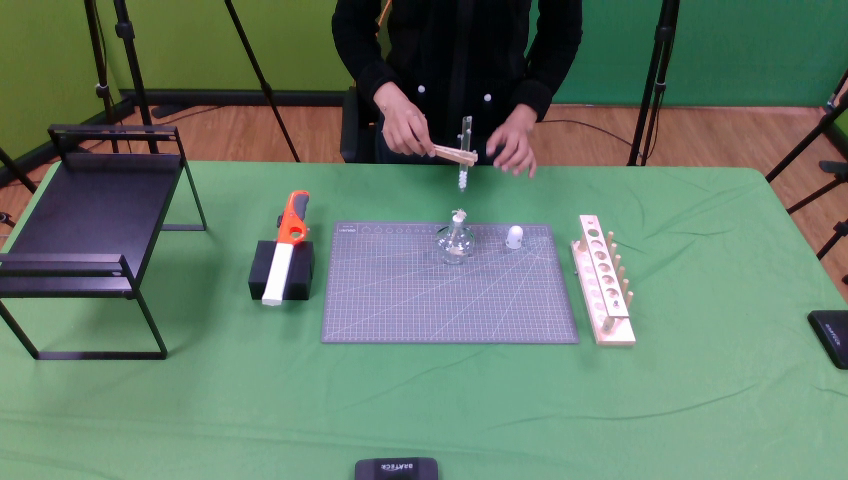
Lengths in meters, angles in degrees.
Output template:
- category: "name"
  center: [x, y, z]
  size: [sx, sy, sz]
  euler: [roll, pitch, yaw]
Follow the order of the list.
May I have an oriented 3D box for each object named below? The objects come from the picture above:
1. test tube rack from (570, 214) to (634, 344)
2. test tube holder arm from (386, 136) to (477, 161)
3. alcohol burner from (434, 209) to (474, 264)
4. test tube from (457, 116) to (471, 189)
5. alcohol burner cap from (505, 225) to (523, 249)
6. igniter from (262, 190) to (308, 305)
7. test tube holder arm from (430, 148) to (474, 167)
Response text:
- category: "test tube rack"
  center: [0.333, 0.067, 1.116]
  size: [0.067, 0.085, 0.241]
  euler: [1, 46, -4]
- category: "test tube holder arm"
  center: [0.012, -0.168, 1.117]
  size: [0.178, 0.015, 0.013]
  euler: [15, 48, 18]
- category: "alcohol burner"
  center: [0.058, -0.012, 1.147]
  size: [0.078, 0.119, 0.077]
  euler: [3, 44, -2]
- category: "test tube"
  center: [0.071, -0.154, 1.089]
  size: [0.017, 0.151, 0.017]
  euler: [1, 42, -1]
- category: "alcohol burner cap"
  center: [0.180, -0.009, 1.203]
  size: [0.034, 0.048, 0.033]
  euler: [2, 47, -2]
- category: "igniter"
  center: [-0.252, 0.004, 1.107]
  size: [0.057, 0.025, 0.275]
  euler: [7, 47, -6]
- category: "test tube holder arm"
  center: [0.049, -0.152, 1.099]
  size: [0.087, 0.015, 0.010]
  euler: [22, 52, 24]
